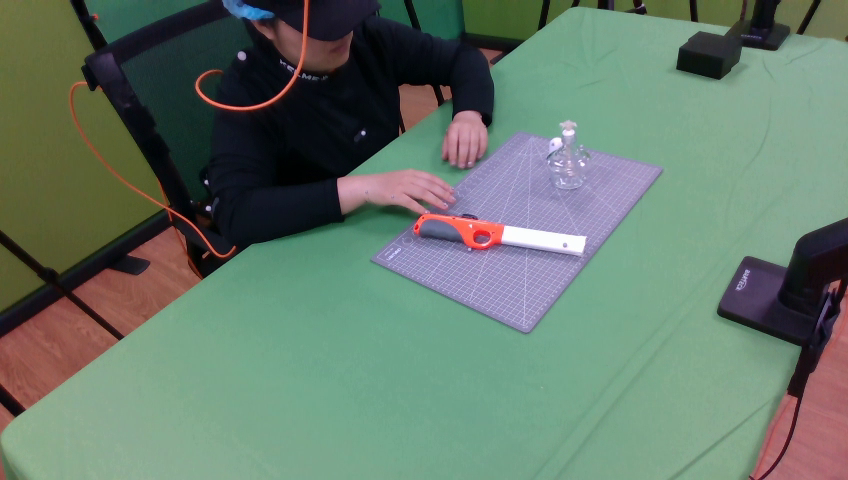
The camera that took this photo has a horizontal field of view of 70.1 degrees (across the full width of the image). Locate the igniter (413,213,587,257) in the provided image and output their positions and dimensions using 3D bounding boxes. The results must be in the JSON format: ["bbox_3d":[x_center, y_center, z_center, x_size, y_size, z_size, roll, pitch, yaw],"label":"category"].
[{"bbox_3d":[0.116,-0.009,0.959,0.275,0.025,0.057,8,65,17],"label":"igniter"}]

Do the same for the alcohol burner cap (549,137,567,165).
[{"bbox_3d":[0.247,-0.166,1.114,0.034,0.048,0.033,-6,40,6],"label":"alcohol burner cap"}]

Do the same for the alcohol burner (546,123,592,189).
[{"bbox_3d":[0.248,-0.147,1.034,0.078,0.120,0.077,-7,41,6],"label":"alcohol burner"}]
